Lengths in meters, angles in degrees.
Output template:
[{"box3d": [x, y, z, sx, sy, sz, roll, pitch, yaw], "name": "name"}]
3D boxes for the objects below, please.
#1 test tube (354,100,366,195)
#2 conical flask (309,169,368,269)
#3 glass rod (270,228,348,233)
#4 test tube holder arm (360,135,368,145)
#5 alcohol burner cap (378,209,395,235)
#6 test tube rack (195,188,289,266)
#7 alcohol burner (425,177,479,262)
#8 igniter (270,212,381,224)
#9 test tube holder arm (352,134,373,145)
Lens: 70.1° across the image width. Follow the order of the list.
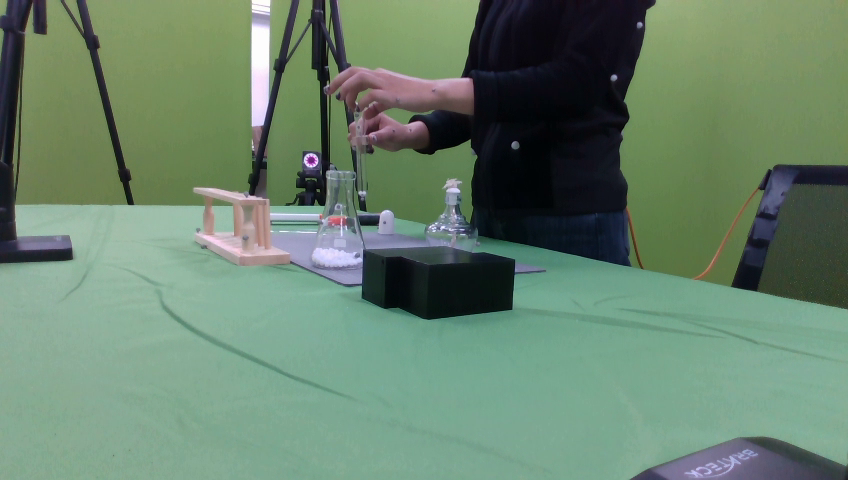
[{"box3d": [-0.102, -0.146, 0.967, 0.017, 0.150, 0.017, 0, 10, 0], "name": "test tube"}, {"box3d": [-0.107, -0.028, 0.762, 0.075, 0.122, 0.075, 2, 7, 0], "name": "conical flask"}, {"box3d": [-0.235, -0.017, 1.105, 0.201, 0.008, 0.008, 1, 7, -26], "name": "glass rod"}, {"box3d": [-0.098, -0.164, 0.988, 0.010, 0.015, 0.087, 5, 12, -5], "name": "test tube holder arm"}, {"box3d": [-0.070, -0.034, 1.144, 0.034, 0.048, 0.034, 2, 7, 0], "name": "alcohol burner cap"}, {"box3d": [-0.266, -0.025, 0.864, 0.067, 0.085, 0.241, -2, 8, -33], "name": "test tube rack"}, {"box3d": [0.040, -0.029, 0.853, 0.078, 0.119, 0.078, 2, 9, 0], "name": "alcohol burner"}, {"box3d": [-0.213, -0.048, 1.279, 0.278, 0.025, 0.057, -1, -2, -24], "name": "igniter"}, {"box3d": [-0.103, -0.173, 1.032, 0.013, 0.015, 0.178, 7, 12, 1], "name": "test tube holder arm"}]
